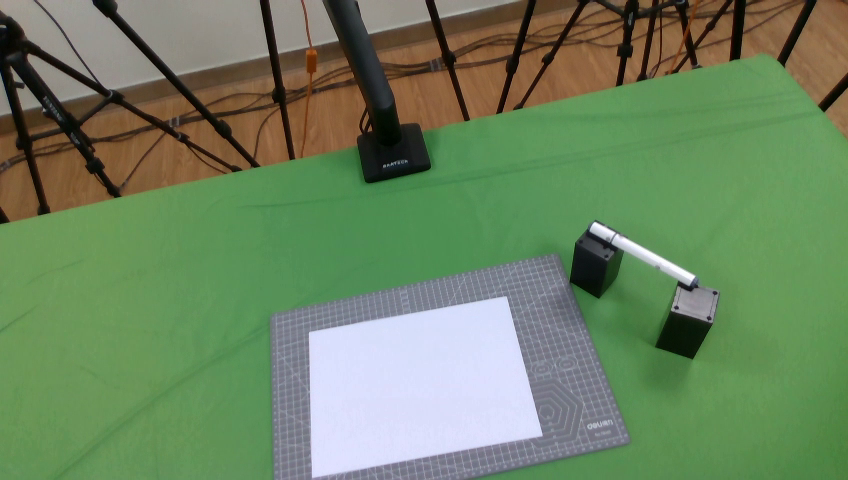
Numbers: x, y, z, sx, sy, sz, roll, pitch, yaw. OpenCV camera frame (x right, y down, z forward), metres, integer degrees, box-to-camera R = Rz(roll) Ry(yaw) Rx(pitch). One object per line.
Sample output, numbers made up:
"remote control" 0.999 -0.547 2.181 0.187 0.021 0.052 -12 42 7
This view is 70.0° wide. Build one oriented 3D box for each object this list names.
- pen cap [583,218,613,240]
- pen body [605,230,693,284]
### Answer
"pen cap" 0.233 -0.015 0.816 0.038 0.017 0.017 33 65 27
"pen body" 0.280 0.015 0.789 0.143 0.017 0.017 34 65 26
